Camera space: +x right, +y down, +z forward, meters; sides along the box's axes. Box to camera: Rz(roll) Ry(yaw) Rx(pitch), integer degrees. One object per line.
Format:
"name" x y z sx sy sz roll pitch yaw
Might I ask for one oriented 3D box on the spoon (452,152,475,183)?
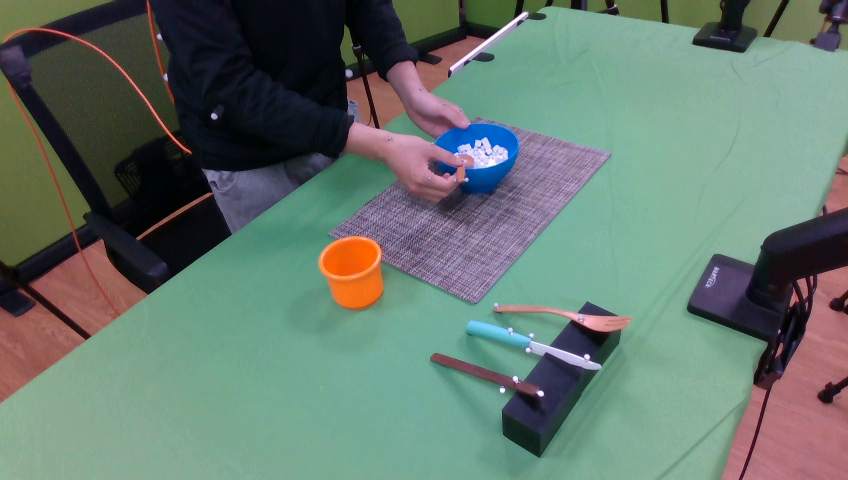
"spoon" 0.061 -0.120 0.987 0.041 0.021 0.193 3 16 5

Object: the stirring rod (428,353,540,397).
"stirring rod" 0.068 0.162 0.736 0.174 0.006 0.014 8 41 47

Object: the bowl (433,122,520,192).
"bowl" 0.094 -0.137 1.064 0.151 0.077 0.150 -4 41 4

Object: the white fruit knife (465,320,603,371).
"white fruit knife" 0.128 0.129 0.749 0.205 0.027 0.016 10 44 43

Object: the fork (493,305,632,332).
"fork" 0.171 0.097 0.783 0.205 0.019 0.028 4 40 43
